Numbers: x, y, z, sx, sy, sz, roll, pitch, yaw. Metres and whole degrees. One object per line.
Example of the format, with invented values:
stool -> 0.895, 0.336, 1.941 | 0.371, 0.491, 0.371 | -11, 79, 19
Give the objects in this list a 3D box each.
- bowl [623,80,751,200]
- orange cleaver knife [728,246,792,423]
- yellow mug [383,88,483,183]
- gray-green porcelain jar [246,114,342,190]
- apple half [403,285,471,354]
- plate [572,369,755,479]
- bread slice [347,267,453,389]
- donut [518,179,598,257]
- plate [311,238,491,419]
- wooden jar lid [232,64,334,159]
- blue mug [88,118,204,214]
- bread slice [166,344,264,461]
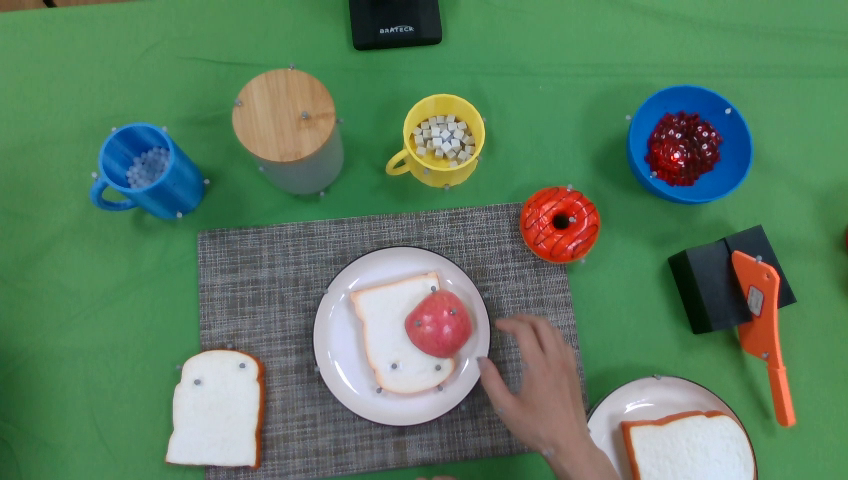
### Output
bowl -> 0.314, -0.114, 0.758 | 0.151, 0.077, 0.150 | 0, 78, -2
orange cleaver knife -> 0.393, 0.110, 0.711 | 0.012, 0.077, 0.212 | -16, 101, -13
yellow mug -> 0.007, -0.121, 0.752 | 0.131, 0.064, 0.099 | -29, 80, -8
gray-green porcelain jar -> -0.153, -0.122, 0.714 | 0.106, 0.127, 0.105 | 1, 77, -2
apple half -> 0.019, 0.090, 0.695 | 0.081, 0.033, 0.081 | 1, 76, -3
plate -> 0.270, 0.254, 0.697 | 0.209, 0.038, 0.208 | 1, 78, -2
bread slice -> -0.021, 0.106, 0.713 | 0.107, 0.018, 0.133 | -17, 79, -4
donut -> 0.164, -0.027, 0.746 | 0.099, 0.048, 0.098 | 0, 79, -2
plate -> -0.027, 0.103, 0.713 | 0.208, 0.039, 0.206 | 1, 78, -2
wooden jar lid -> -0.151, -0.136, 0.654 | 0.108, 0.021, 0.108 | 1, 76, -2
blue mug -> -0.329, -0.075, 0.706 | 0.116, 0.106, 0.082 | -31, 80, -8
bread slice -> -0.238, 0.185, 0.696 | 0.105, 0.019, 0.131 | 2, 79, -3
